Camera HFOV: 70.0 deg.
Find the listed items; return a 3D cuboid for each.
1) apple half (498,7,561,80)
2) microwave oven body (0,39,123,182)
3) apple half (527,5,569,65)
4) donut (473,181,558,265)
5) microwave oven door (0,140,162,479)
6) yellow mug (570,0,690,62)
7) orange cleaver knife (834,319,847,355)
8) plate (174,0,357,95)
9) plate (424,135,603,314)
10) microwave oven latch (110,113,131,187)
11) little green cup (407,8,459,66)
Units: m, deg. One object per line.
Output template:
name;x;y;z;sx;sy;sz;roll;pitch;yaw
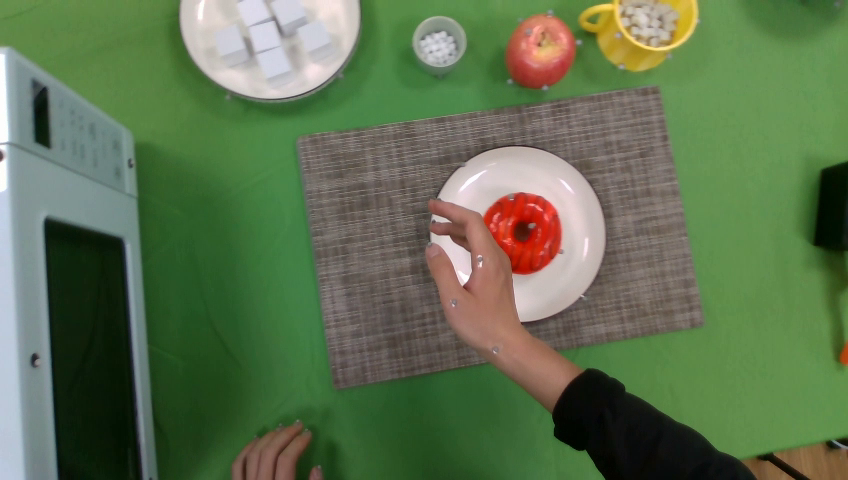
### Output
apple half;0.117;-0.223;0.714;0.053;0.074;0.081;-36;92;-1
microwave oven body;-0.465;0.085;0.552;0.326;0.260;0.441;-6;87;-5
apple half;0.148;-0.246;0.716;0.033;0.081;0.081;-36;88;-1
donut;0.106;-0.019;0.699;0.099;0.048;0.099;0;87;-3
microwave oven door;-0.315;0.110;0.555;0.039;0.244;0.355;-7;86;-4
yellow mug;0.242;-0.275;0.729;0.131;0.064;0.099;2;85;-3
orange cleaver knife;0.530;0.038;0.714;0.012;0.076;0.212;10;117;-1
plate;-0.182;-0.269;0.714;0.208;0.039;0.207;0;85;-4
plate;0.103;-0.018;0.710;0.209;0.038;0.208;0;86;-4
microwave oven latch;-0.345;-0.098;0.671;0.030;0.029;0.079;-5;87;-5
little green cup;0.010;-0.240;0.725;0.061;0.038;0.061;0;85;-3
